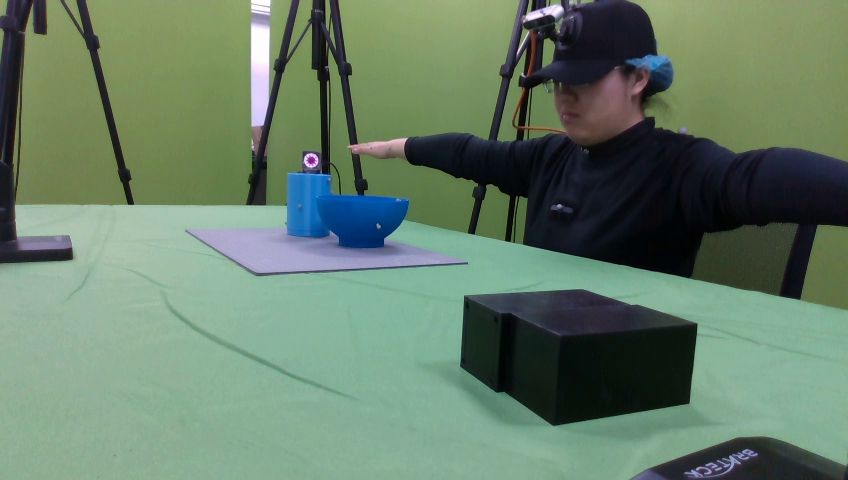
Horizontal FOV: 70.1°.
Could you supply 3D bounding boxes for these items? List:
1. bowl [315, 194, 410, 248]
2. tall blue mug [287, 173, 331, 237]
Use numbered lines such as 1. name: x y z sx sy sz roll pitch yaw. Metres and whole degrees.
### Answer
1. bowl: -0.100 -0.031 0.971 0.151 0.077 0.151 2 7 0
2. tall blue mug: -0.207 -0.066 1.088 0.078 0.108 0.107 0 8 -12
